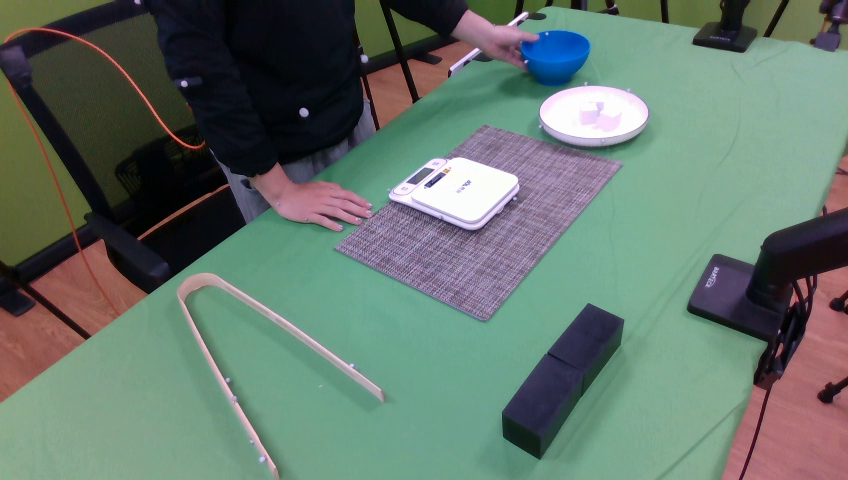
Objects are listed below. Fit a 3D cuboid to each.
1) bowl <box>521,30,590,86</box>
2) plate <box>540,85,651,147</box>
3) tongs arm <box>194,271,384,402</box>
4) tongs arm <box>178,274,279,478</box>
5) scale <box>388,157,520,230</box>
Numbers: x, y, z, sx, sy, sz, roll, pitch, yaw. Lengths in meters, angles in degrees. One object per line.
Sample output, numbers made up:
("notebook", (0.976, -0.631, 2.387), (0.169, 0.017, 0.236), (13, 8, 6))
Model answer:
("bowl", (0.288, -0.395, 1.338), (0.151, 0.077, 0.150), (-3, 44, 4))
("plate", (0.333, -0.238, 1.186), (0.207, 0.039, 0.206), (-4, 41, 4))
("tongs arm", (-0.199, 0.125, 0.847), (0.384, 0.028, 0.028), (25, 52, 32))
("tongs arm", (-0.260, 0.161, 0.807), (0.051, 0.026, 0.381), (-29, 44, -25))
("scale", (0.050, -0.090, 1.051), (0.199, 0.032, 0.149), (24, 49, 31))
